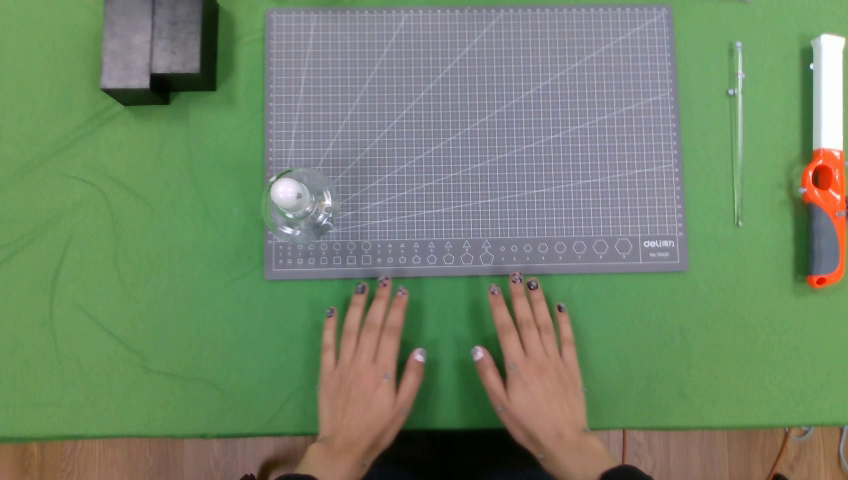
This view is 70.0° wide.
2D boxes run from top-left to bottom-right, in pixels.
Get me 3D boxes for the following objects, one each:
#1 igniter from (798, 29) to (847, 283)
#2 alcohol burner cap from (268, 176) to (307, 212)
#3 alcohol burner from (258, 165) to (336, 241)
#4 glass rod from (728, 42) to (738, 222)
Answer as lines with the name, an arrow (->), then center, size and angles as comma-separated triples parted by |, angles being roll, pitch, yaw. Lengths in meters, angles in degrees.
igniter -> 0.429, -0.090, 0.652 | 0.057, 0.025, 0.276 | 5, 84, -11
alcohol burner cap -> -0.127, -0.044, 0.555 | 0.034, 0.048, 0.034 | 0, 88, -4
alcohol burner -> -0.127, -0.039, 0.591 | 0.078, 0.119, 0.077 | 0, 83, 1
glass rod -> 0.338, -0.118, 0.663 | 0.008, 0.008, 0.199 | 3, 87, -1
